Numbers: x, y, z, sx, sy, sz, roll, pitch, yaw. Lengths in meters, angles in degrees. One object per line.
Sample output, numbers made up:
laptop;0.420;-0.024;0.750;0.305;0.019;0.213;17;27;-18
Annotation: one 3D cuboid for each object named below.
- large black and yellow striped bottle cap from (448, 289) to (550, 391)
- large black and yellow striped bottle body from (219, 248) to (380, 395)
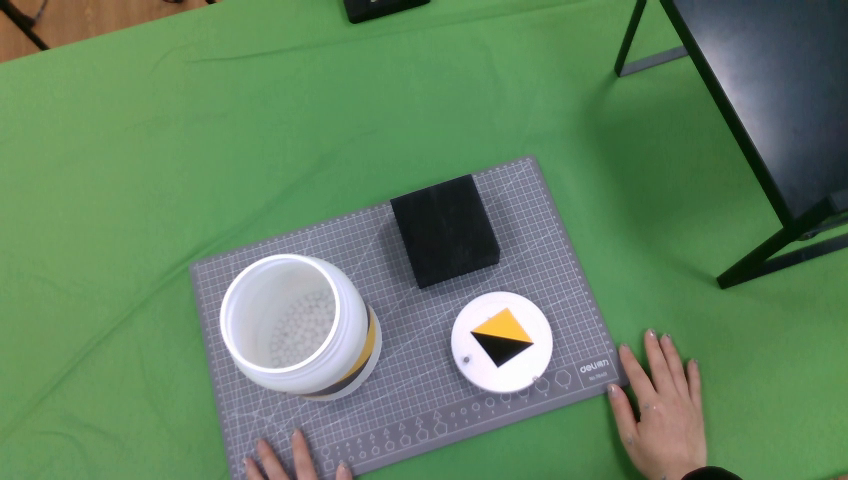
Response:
large black and yellow striped bottle cap;0.084;0.112;0.685;0.115;0.019;0.114;-1;71;3
large black and yellow striped bottle body;-0.121;0.086;0.619;0.131;0.185;0.130;-1;72;4
